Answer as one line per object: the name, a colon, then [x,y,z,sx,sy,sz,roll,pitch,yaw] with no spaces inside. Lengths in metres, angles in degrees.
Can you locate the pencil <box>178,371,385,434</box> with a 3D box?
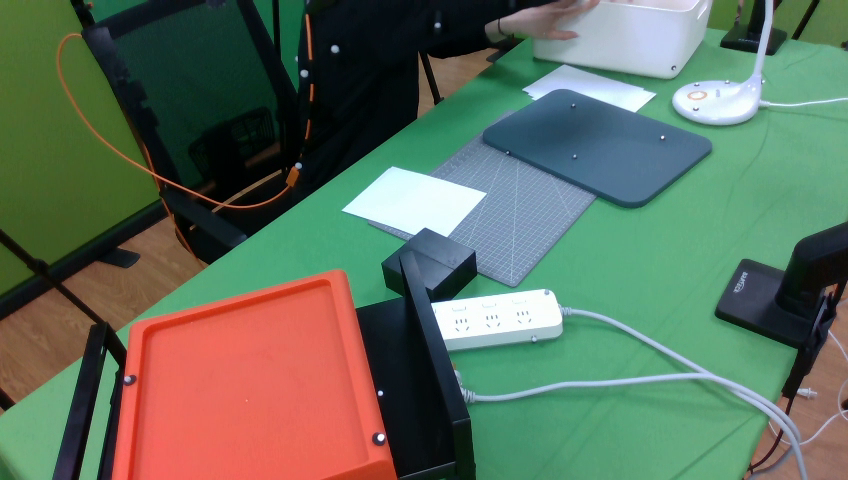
pencil: [-0.128,0.141,0.534,0.194,0.012,0.012,14,44,7]

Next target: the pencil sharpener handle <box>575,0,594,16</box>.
pencil sharpener handle: [0.401,-0.594,1.512,0.036,0.067,0.030,35,48,0]

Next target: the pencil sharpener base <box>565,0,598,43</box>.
pencil sharpener base: [0.387,-0.550,1.484,0.061,0.107,0.077,13,44,23]

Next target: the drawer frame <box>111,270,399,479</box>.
drawer frame: [-0.140,0.140,0.506,0.202,0.083,0.212,-15,41,-9]

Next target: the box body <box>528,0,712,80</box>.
box body: [0.451,-0.513,1.399,0.361,0.161,0.254,19,48,28]

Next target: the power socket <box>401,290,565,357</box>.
power socket: [0.080,0.113,0.821,0.227,0.033,0.072,-6,41,0]

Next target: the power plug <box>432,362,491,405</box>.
power plug: [0.044,0.182,0.759,0.073,0.035,0.052,23,42,-19]

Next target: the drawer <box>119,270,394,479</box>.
drawer: [-0.141,0.139,0.509,0.195,0.073,0.210,-14,42,-8]

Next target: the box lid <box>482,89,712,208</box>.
box lid: [0.320,-0.190,1.156,0.264,0.015,0.368,-33,47,-28]

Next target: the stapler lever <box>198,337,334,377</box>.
stapler lever: [-0.142,0.105,0.541,0.118,0.040,0.026,-3,43,4]

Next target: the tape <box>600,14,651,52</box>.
tape: [0.484,-0.498,1.451,0.117,0.053,0.116,-4,41,4]

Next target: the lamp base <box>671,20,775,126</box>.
lamp base: [0.582,-0.332,1.153,0.179,0.181,0.160,2,41,7]

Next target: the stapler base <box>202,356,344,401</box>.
stapler base: [-0.141,0.124,0.557,0.130,0.024,0.041,-2,43,3]
